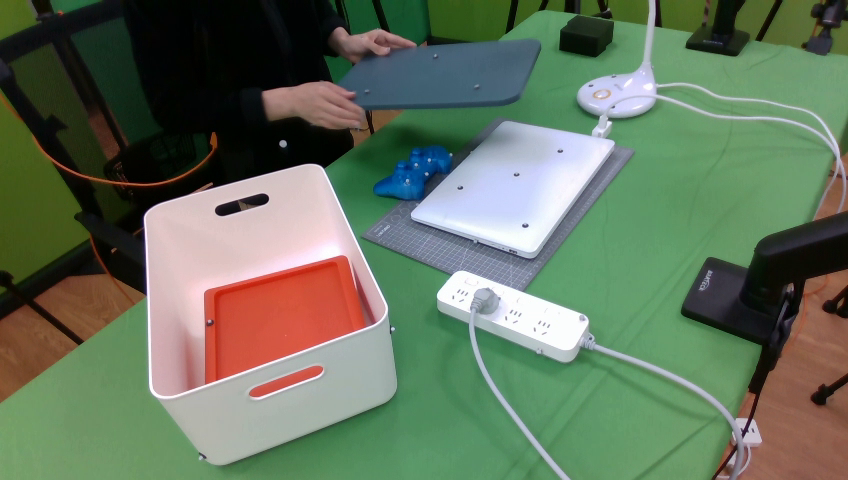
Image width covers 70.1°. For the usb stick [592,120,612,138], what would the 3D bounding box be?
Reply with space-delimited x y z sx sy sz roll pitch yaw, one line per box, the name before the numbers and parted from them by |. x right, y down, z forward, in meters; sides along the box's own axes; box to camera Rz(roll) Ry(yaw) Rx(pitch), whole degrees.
usb stick | 0.335 -0.203 1.149 0.021 0.027 0.059 25 52 26

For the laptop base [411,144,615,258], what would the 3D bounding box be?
laptop base | 0.167 -0.102 1.074 0.234 0.023 0.355 16 45 30

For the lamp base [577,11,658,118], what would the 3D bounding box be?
lamp base | 0.406 -0.363 1.222 0.180 0.181 0.159 -20 42 -18

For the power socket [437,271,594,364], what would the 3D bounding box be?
power socket | 0.118 0.102 0.830 0.225 0.033 0.072 20 48 28

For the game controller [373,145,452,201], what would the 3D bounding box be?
game controller | -0.017 -0.129 1.111 0.096 0.052 0.155 21 48 27

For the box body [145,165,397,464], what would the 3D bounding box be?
box body | -0.205 0.080 0.802 0.255 0.161 0.361 -18 41 -13

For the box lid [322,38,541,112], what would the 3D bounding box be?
box lid | 0.020 -0.305 1.114 0.370 0.015 0.263 2 39 19

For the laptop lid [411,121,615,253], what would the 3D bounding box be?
laptop lid | 0.164 -0.112 1.068 0.240 0.013 0.357 19 46 31

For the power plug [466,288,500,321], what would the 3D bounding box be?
power plug | 0.072 0.093 0.813 0.035 0.053 0.073 30 54 35
